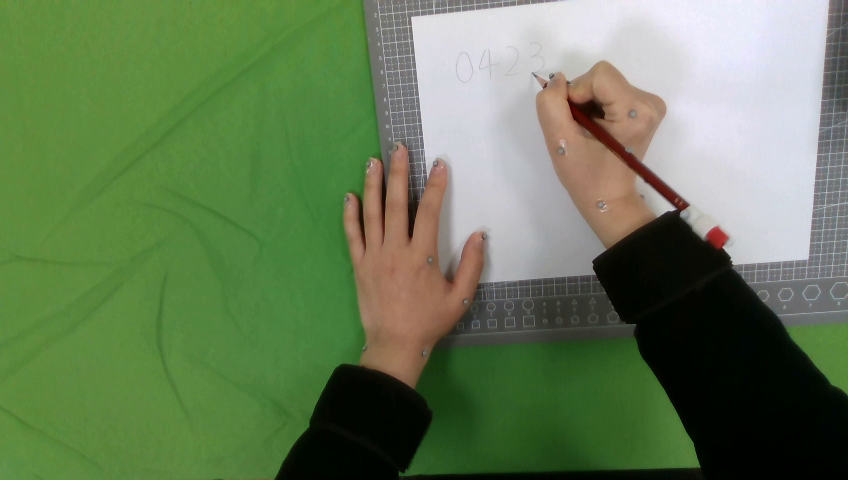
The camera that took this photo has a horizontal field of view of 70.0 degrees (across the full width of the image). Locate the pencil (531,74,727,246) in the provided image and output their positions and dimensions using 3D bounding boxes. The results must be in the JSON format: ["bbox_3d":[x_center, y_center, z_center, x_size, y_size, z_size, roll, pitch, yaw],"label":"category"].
[{"bbox_3d":[0.122,-0.061,0.393,0.012,0.192,0.012,-20,140,-17],"label":"pencil"}]
